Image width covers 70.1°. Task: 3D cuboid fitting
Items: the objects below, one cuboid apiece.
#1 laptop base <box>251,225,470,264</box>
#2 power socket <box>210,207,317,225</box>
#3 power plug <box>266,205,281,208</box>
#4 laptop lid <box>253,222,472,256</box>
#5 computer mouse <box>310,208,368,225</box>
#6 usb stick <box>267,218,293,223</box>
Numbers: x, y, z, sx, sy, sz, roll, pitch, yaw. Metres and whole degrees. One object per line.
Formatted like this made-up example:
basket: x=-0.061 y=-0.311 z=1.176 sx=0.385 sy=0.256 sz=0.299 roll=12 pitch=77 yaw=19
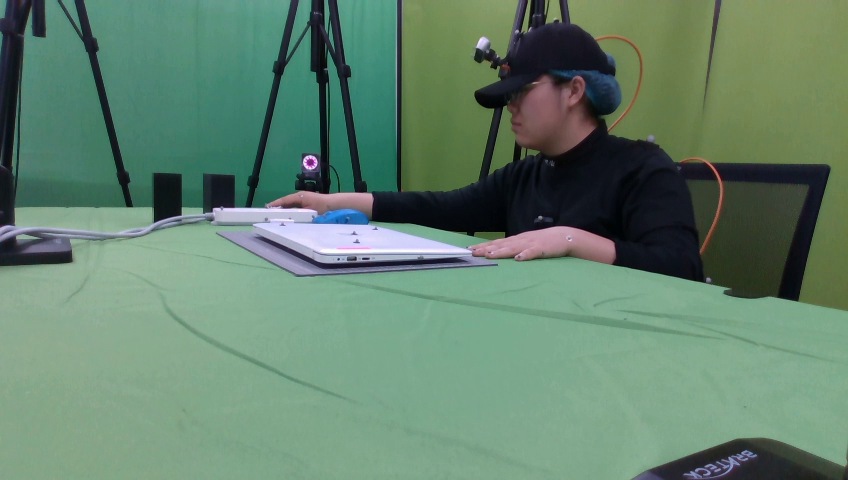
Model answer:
laptop base: x=-0.116 y=0.006 z=0.955 sx=0.237 sy=0.023 sz=0.352 roll=2 pitch=6 yaw=-31
power socket: x=-0.335 y=-0.051 z=1.282 sx=0.228 sy=0.032 sz=0.072 roll=-1 pitch=9 yaw=-28
power plug: x=-0.344 y=-0.057 z=1.365 sx=0.053 sy=0.035 sz=0.072 roll=-20 pitch=-10 yaw=-13
laptop lid: x=-0.113 y=-0.005 z=0.955 sx=0.243 sy=0.013 sz=0.355 roll=1 pitch=7 yaw=-29
computer mouse: x=-0.179 y=-0.045 z=1.275 sx=0.118 sy=0.041 sz=0.062 roll=-6 pitch=13 yaw=-29
usb stick: x=-0.272 y=-0.026 z=1.108 sx=0.059 sy=0.027 sz=0.021 roll=-4 pitch=11 yaw=-27
